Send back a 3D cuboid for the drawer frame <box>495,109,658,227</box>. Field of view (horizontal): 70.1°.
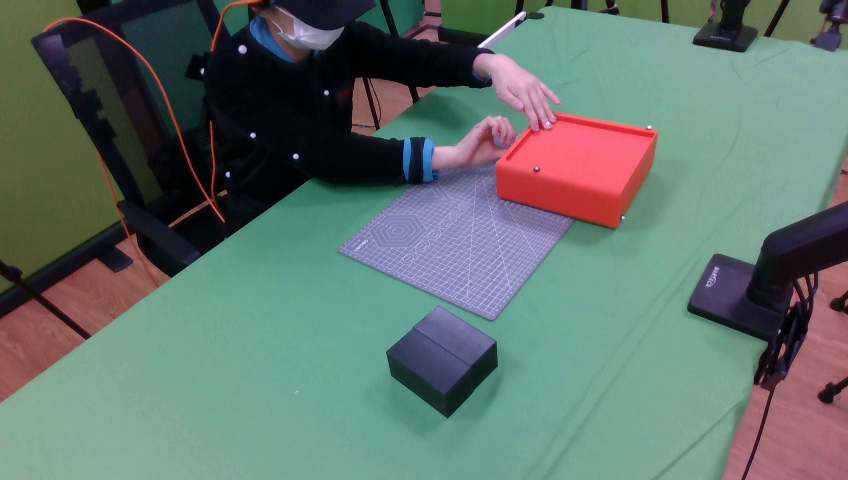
[{"bbox_3d":[0.260,-0.130,1.031,0.212,0.083,0.202,18,46,26],"label":"drawer frame"}]

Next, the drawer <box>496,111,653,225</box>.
[{"bbox_3d":[0.257,-0.129,1.033,0.210,0.073,0.195,19,46,26],"label":"drawer"}]

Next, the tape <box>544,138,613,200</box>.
[{"bbox_3d":[0.263,-0.122,1.035,0.117,0.053,0.116,-5,41,5],"label":"tape"}]
